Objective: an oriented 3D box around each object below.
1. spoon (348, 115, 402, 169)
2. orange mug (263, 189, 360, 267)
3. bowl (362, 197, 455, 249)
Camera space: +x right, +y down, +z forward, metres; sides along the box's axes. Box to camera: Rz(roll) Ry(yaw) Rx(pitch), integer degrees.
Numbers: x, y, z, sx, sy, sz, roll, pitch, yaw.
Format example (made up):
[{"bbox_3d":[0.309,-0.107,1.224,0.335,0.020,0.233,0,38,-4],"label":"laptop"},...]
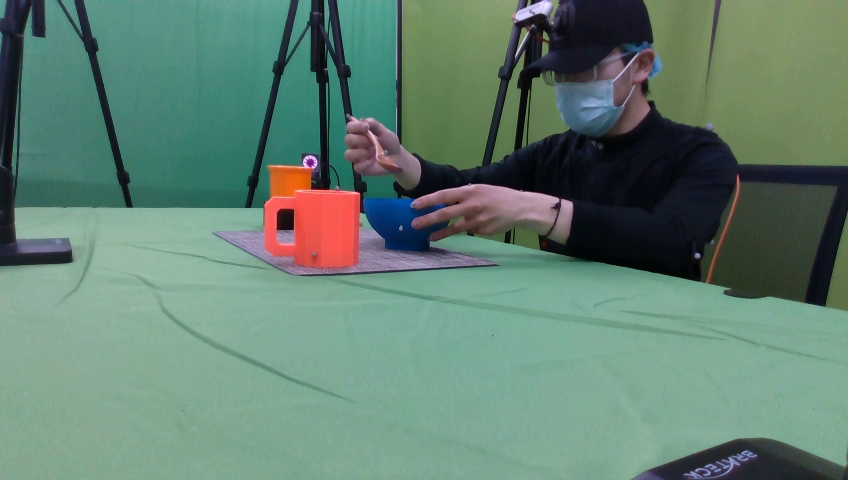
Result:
[{"bbox_3d":[-0.084,-0.162,0.980,0.042,0.021,0.193,14,29,-38],"label":"spoon"},{"bbox_3d":[-0.147,-0.019,0.794,0.127,0.100,0.083,5,6,-19],"label":"orange mug"},{"bbox_3d":[-0.027,-0.028,0.985,0.151,0.077,0.151,2,7,0],"label":"bowl"}]
